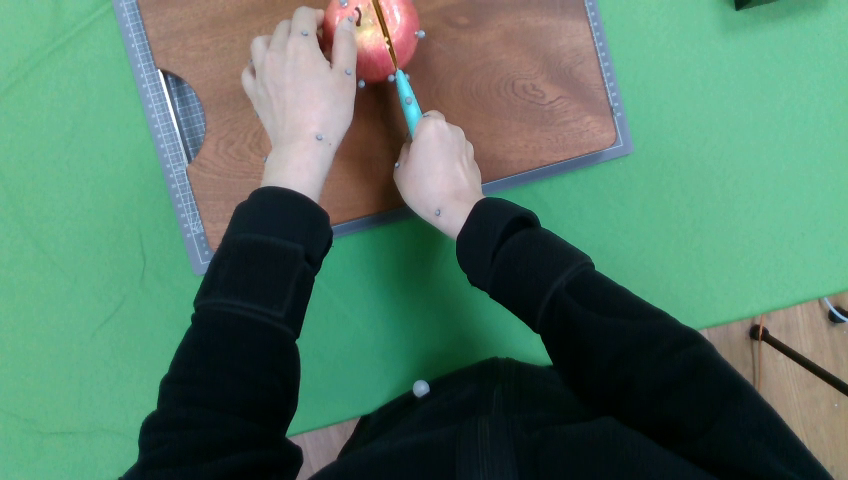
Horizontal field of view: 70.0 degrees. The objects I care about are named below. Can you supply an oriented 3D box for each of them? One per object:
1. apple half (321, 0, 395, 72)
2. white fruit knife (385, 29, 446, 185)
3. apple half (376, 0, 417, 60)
[{"bbox_3d":[-0.060,-0.184,0.528,0.053,0.074,0.081,-18,98,8],"label":"apple half"},{"bbox_3d":[-0.022,-0.147,0.531,0.016,0.027,0.207,-21,95,-3],"label":"white fruit knife"},{"bbox_3d":[-0.023,-0.197,0.527,0.033,0.081,0.081,-19,93,-1],"label":"apple half"}]
